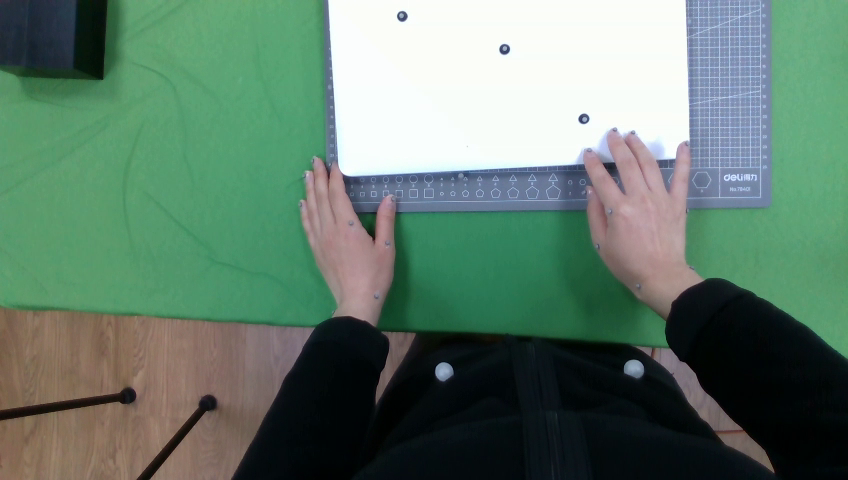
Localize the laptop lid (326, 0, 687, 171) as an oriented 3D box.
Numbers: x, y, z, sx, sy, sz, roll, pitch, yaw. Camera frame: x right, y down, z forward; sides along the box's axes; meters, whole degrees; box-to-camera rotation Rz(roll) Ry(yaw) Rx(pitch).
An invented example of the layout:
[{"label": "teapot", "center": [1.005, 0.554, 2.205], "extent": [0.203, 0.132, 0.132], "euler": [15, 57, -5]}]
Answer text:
[{"label": "laptop lid", "center": [0.079, -0.194, 0.601], "extent": [0.356, 0.013, 0.242], "euler": [-1, 94, 4]}]

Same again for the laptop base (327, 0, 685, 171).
[{"label": "laptop base", "center": [0.079, -0.196, 0.613], "extent": [0.354, 0.023, 0.235], "euler": [-3, 95, 4]}]
